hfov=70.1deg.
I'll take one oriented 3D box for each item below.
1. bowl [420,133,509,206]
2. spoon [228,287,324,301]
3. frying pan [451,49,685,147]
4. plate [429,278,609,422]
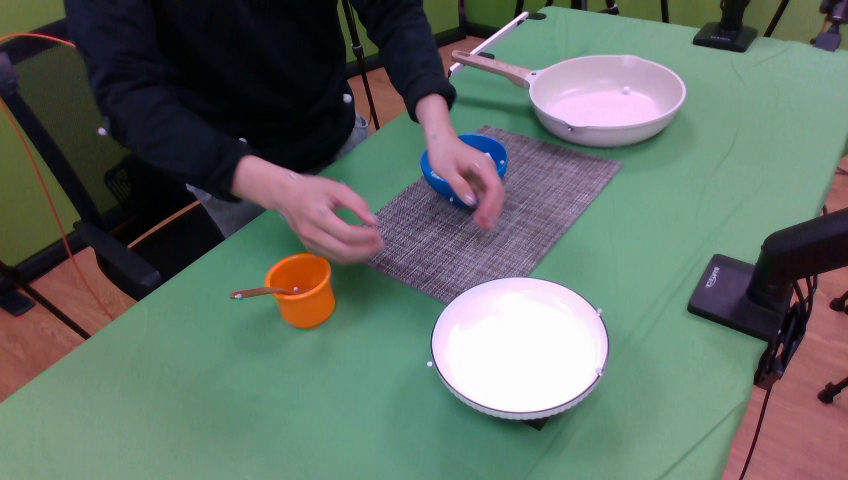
[{"bbox_3d":[0.071,-0.112,1.038,0.151,0.077,0.150,-4,41,4],"label":"bowl"},{"bbox_3d":[-0.197,0.071,0.816,0.041,0.195,0.021,13,89,23],"label":"spoon"},{"bbox_3d":[0.269,-0.316,1.233,0.485,0.103,0.307,26,49,21],"label":"frying pan"},{"bbox_3d":[0.111,0.129,0.716,0.207,0.039,0.206,-5,39,4],"label":"plate"}]
